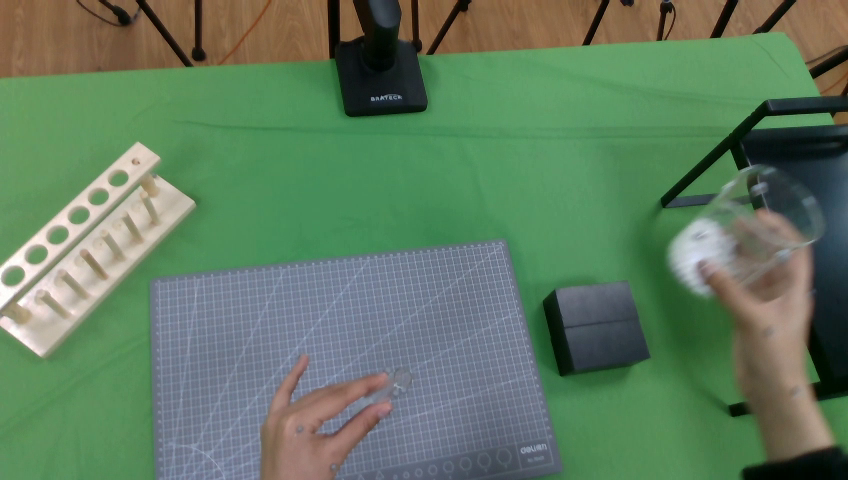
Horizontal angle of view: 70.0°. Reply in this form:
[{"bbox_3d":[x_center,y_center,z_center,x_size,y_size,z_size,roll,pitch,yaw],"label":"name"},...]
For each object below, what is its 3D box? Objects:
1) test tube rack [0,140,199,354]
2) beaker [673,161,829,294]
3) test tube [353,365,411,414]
[{"bbox_3d":[-0.375,0.006,0.690,0.066,0.085,0.241,35,66,6],"label":"test tube rack"},{"bbox_3d":[0.259,-0.006,0.499,0.084,0.101,0.073,11,57,-8],"label":"beaker"},{"bbox_3d":[-0.040,0.133,0.530,0.017,0.150,0.017,8,64,-17],"label":"test tube"}]
